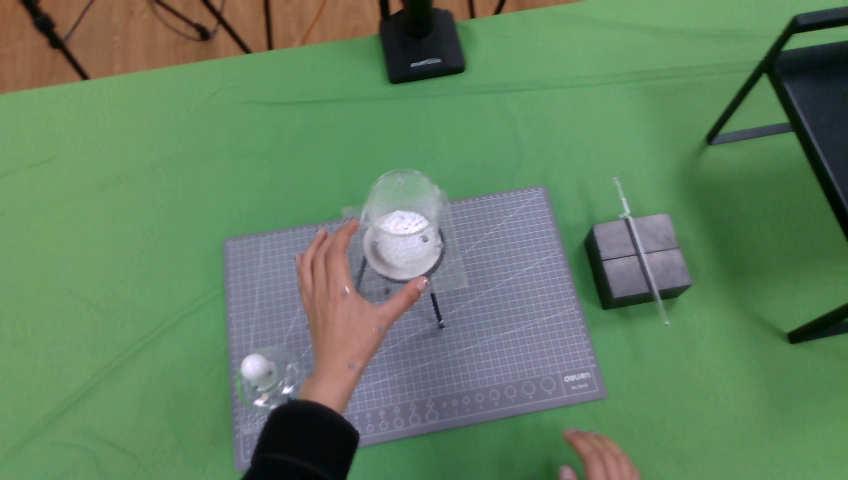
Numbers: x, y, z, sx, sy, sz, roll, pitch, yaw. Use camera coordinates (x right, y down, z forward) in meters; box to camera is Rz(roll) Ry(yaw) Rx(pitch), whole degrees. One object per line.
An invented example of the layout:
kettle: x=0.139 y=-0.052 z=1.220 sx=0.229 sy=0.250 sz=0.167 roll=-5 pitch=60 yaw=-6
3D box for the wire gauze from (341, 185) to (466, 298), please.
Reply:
wire gauze: x=-0.025 y=0.001 z=0.671 sx=0.125 sy=0.011 sz=0.120 roll=-8 pitch=68 yaw=-6

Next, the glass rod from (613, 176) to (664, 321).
glass rod: x=0.268 y=0.007 z=0.759 sx=0.008 sy=0.008 sz=0.198 roll=-10 pitch=68 yaw=-4

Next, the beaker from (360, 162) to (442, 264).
beaker: x=-0.023 y=-0.022 z=0.628 sx=0.084 sy=0.101 sz=0.073 roll=-25 pitch=69 yaw=-10

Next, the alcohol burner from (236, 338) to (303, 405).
alcohol burner: x=-0.180 y=0.147 z=0.693 sx=0.078 sy=0.120 sz=0.077 roll=1 pitch=69 yaw=-1

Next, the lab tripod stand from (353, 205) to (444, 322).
lab tripod stand: x=-0.021 y=0.022 z=0.733 sx=0.148 sy=0.132 sz=0.147 roll=0 pitch=66 yaw=1

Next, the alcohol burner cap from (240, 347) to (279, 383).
alcohol burner cap: x=-0.181 y=0.134 z=0.658 sx=0.034 sy=0.048 sz=0.033 roll=-3 pitch=64 yaw=6
